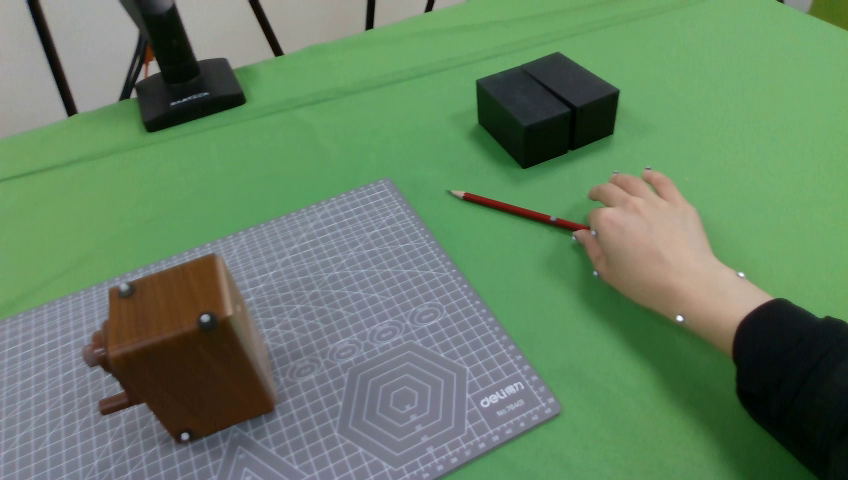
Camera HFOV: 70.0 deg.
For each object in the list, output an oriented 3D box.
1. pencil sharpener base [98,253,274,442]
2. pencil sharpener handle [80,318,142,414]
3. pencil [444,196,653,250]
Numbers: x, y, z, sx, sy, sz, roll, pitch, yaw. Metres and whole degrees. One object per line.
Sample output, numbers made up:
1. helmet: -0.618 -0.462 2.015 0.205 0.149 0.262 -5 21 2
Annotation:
1. pencil sharpener base: -0.152 0.073 0.396 0.077 0.108 0.060 -19 45 -11
2. pencil sharpener handle: -0.200 0.082 0.376 0.031 0.068 0.035 -19 39 -11
3. pencil: 0.102 -0.019 0.534 0.193 0.012 0.012 16 48 26
